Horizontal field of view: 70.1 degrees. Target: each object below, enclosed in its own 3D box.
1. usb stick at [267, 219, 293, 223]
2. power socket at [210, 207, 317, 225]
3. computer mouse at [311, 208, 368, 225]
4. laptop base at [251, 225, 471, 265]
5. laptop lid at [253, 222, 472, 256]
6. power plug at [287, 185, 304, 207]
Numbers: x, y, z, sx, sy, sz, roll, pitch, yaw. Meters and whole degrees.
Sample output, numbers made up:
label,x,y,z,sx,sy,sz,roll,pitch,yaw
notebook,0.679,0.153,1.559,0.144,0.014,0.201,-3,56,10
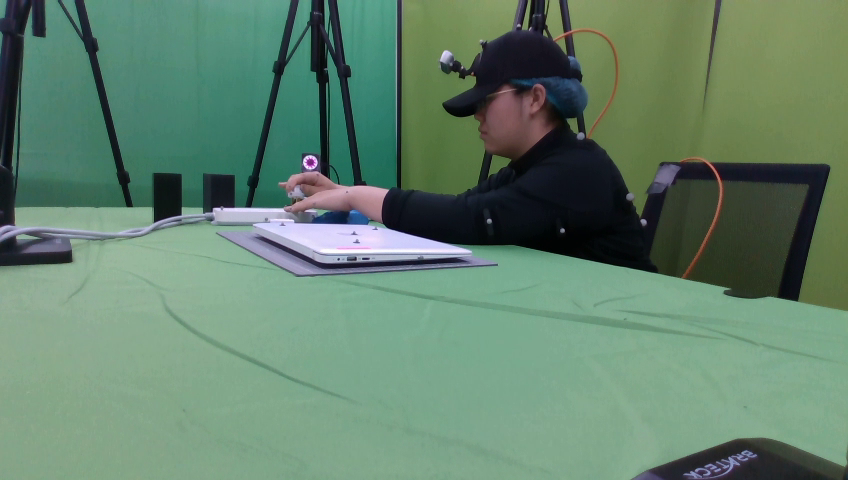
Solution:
label,x,y,z,sx,sy,sz,roll,pitch,yaw
usb stick,-0.272,-0.025,1.108,0.059,0.027,0.021,-4,11,-27
power socket,-0.335,-0.051,1.282,0.228,0.032,0.072,-1,9,-27
computer mouse,-0.178,-0.045,1.275,0.118,0.041,0.062,-6,13,-27
laptop base,-0.116,0.007,0.955,0.237,0.023,0.352,2,6,-31
laptop lid,-0.113,-0.005,0.955,0.243,0.013,0.355,1,7,-29
power plug,-0.285,-0.093,1.346,0.035,0.052,0.072,2,-15,-6
